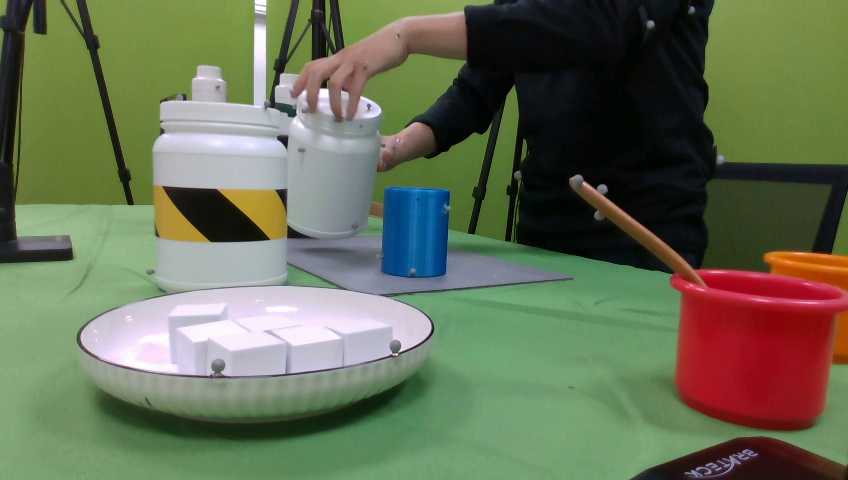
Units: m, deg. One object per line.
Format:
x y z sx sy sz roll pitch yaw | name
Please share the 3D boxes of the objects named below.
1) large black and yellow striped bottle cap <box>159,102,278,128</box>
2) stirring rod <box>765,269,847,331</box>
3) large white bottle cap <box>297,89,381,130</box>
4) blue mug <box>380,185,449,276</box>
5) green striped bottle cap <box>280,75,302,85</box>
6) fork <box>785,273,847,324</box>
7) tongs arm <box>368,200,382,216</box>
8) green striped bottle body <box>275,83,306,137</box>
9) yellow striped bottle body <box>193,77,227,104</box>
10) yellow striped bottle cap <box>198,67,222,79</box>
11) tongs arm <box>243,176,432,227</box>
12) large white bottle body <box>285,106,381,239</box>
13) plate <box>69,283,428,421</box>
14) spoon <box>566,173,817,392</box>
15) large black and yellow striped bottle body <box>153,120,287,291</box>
-0.207 -0.125 0.615 0.115 0.019 0.115 2 6 0 | large black and yellow striped bottle cap
0.352 0.020 0.484 0.176 0.006 0.014 -40 -6 13 | stirring rod
-0.117 -0.181 0.833 0.115 0.018 0.114 10 29 -5 | large white bottle cap
-0.019 -0.016 0.764 0.083 0.106 0.116 -1 8 -25 | blue mug
-0.267 -0.320 1.216 0.044 0.020 0.044 3 9 0 | green striped bottle cap
0.332 0.018 0.444 0.028 0.018 0.207 -2 -35 -15 | fork
-0.122 -0.066 1.147 0.387 0.026 0.050 11 -2 -37 | tongs arm
-0.269 -0.269 1.221 0.063 0.119 0.063 2 7 0 | green striped bottle body
-0.414 -0.268 1.169 0.063 0.120 0.063 2 7 0 | yellow striped bottle body
-0.412 -0.320 1.163 0.044 0.018 0.044 0 6 0 | yellow striped bottle cap
-0.165 -0.075 1.216 0.389 0.027 0.028 11 -6 -24 | tongs arm
-0.134 -0.109 0.874 0.131 0.184 0.130 10 29 -5 | large white bottle body
-0.102 0.066 0.381 0.208 0.039 0.207 2 7 0 | plate
0.161 0.024 0.370 0.193 0.021 0.042 47 17 3 | spoon
-0.208 -0.042 0.626 0.131 0.184 0.130 2 7 0 | large black and yellow striped bottle body
